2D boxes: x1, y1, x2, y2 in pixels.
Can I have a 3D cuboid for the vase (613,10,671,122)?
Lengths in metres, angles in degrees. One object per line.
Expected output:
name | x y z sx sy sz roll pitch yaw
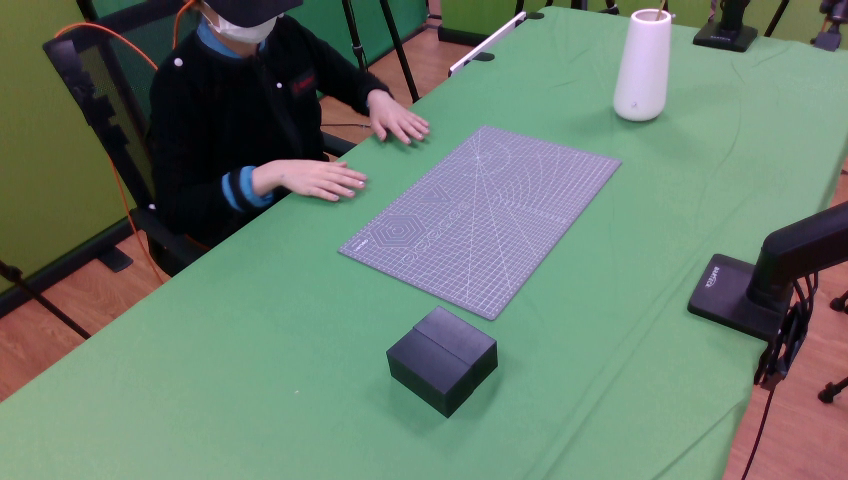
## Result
vase | 0.418 -0.326 1.151 0.098 0.201 0.097 -4 42 4

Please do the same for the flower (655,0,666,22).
flower | 0.427 -0.398 1.108 0.038 0.362 0.043 -3 32 -21
